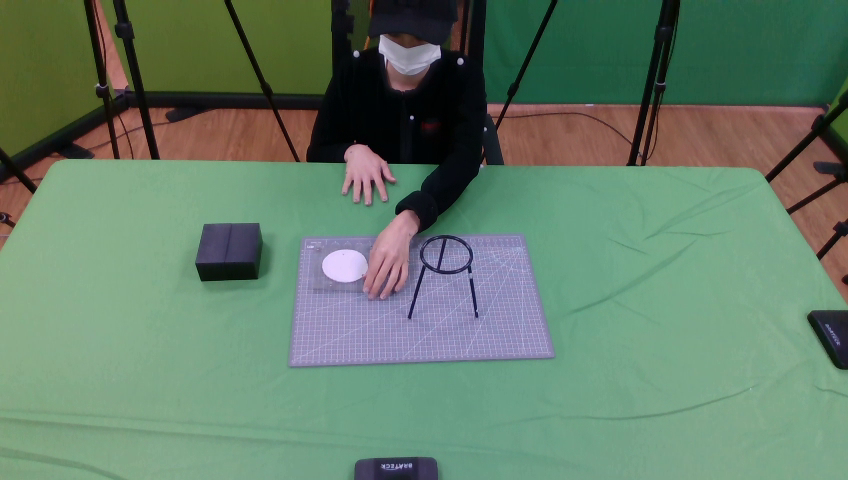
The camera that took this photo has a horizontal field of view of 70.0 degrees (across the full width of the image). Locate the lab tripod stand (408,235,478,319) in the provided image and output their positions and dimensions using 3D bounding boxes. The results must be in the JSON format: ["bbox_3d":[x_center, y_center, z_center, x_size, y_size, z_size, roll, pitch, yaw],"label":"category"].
[{"bbox_3d":[0.032,0.065,1.057,0.148,0.132,0.147,1,45,-1],"label":"lab tripod stand"}]

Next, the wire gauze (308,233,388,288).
[{"bbox_3d":[-0.144,0.033,1.140,0.121,0.011,0.124,-16,43,-16],"label":"wire gauze"}]
